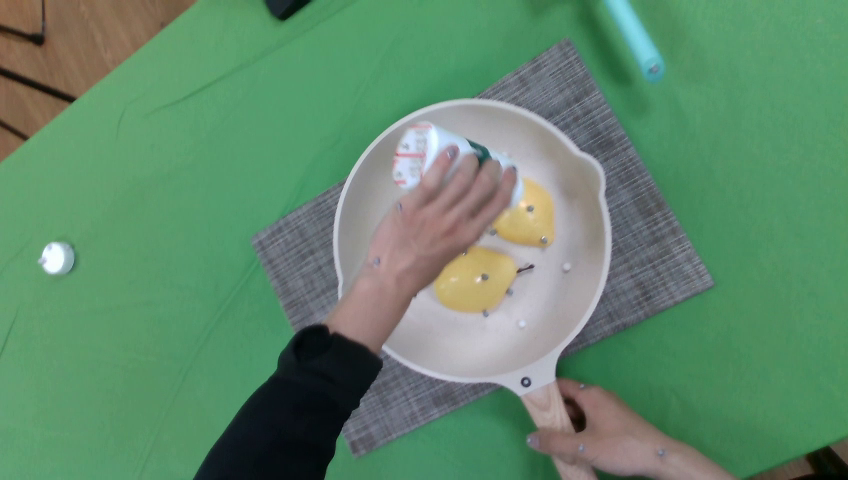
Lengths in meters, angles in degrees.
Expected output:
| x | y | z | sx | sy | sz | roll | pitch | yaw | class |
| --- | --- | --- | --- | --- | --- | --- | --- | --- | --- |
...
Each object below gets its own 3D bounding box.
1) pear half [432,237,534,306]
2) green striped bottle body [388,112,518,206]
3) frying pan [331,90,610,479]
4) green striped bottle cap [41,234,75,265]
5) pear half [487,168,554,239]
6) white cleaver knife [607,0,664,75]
| x | y | z | sx | sy | sz | roll | pitch | yaw | class |
| --- | --- | --- | --- | --- | --- | --- | --- | --- | --- |
| 0.062 | 0.031 | 0.649 | 0.109 | 0.056 | 0.076 | -16 | 91 | 14 | pear half |
| 0.032 | -0.069 | 0.558 | 0.063 | 0.120 | 0.063 | -23 | 60 | 48 | green striped bottle body |
| 0.086 | 0.086 | 0.618 | 0.306 | 0.103 | 0.485 | -27 | 75 | 16 | frying pan |
| -0.512 | 0.014 | 0.847 | 0.044 | 0.020 | 0.044 | 0 | 90 | 18 | green striped bottle cap |
| 0.103 | -0.037 | 0.647 | 0.070 | 0.031 | 0.087 | -46 | 74 | 18 | pear half |
| 0.170 | -0.292 | 0.611 | 0.021 | 0.066 | 0.285 | -27 | 81 | 20 | white cleaver knife |
